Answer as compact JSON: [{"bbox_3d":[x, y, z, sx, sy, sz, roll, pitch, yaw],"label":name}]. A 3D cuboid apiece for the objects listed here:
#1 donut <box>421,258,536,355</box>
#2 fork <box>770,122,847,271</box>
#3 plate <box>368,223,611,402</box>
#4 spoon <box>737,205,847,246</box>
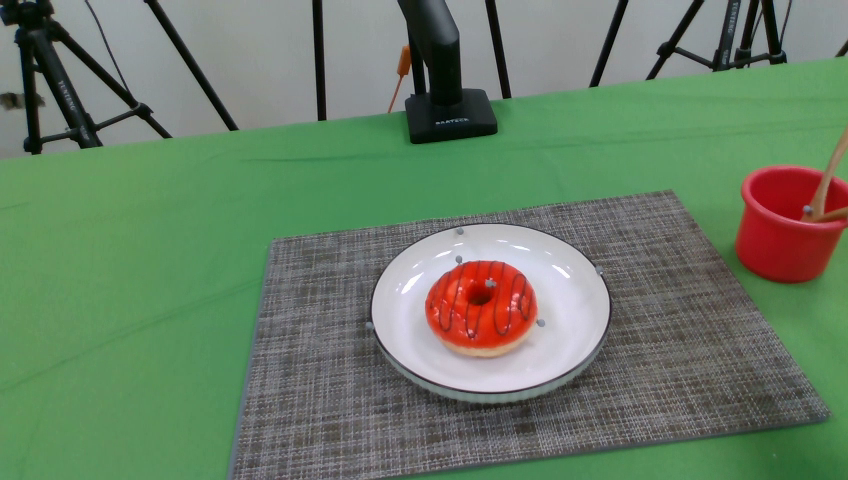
[{"bbox_3d":[0.047,0.057,0.525,0.099,0.049,0.098,-4,42,4],"label":"donut"},{"bbox_3d":[0.376,-0.064,0.557,0.019,0.207,0.028,23,3,-21],"label":"fork"},{"bbox_3d":[0.057,0.061,0.536,0.209,0.038,0.207,-3,39,3],"label":"plate"},{"bbox_3d":[0.354,-0.020,0.517,0.041,0.193,0.021,-37,93,-23],"label":"spoon"}]
